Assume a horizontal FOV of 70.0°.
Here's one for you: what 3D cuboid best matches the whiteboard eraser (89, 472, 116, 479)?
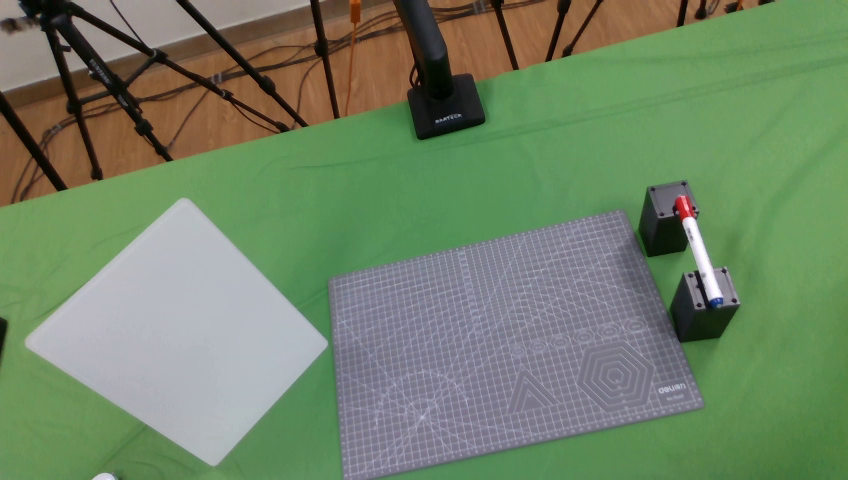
[{"bbox_3d":[-0.407,0.346,0.780,0.041,0.019,0.100,-37,60,-12],"label":"whiteboard eraser"}]

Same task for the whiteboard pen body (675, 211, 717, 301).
[{"bbox_3d":[0.318,0.008,0.718,0.017,0.017,0.139,-9,58,6],"label":"whiteboard pen body"}]

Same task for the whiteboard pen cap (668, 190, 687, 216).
[{"bbox_3d":[0.313,-0.044,0.748,0.017,0.017,0.032,-7,60,8],"label":"whiteboard pen cap"}]

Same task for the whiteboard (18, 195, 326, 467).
[{"bbox_3d":[-0.313,0.104,0.774,0.217,0.309,0.142,-48,42,-16],"label":"whiteboard"}]
